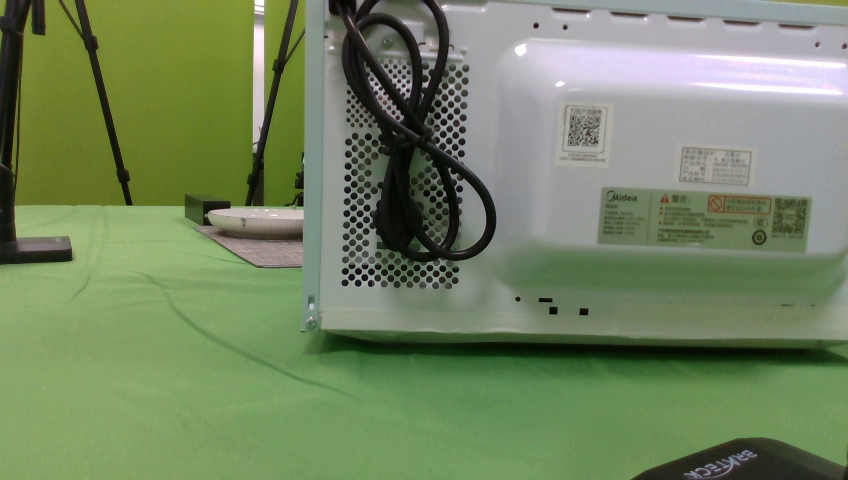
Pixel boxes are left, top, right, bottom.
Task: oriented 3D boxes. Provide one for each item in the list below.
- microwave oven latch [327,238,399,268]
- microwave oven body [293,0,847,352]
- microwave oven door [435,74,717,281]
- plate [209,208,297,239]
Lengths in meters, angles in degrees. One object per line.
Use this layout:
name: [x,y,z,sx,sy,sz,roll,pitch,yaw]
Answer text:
microwave oven latch: [-0.069,0.015,0.694,0.079,0.029,0.030,3,7,-3]
microwave oven body: [0.122,-0.055,0.550,0.442,0.260,0.325,3,7,-5]
microwave oven door: [0.180,-0.089,0.797,0.354,0.243,0.039,7,9,30]
plate: [-0.271,-0.029,1.074,0.208,0.039,0.207,3,7,0]
